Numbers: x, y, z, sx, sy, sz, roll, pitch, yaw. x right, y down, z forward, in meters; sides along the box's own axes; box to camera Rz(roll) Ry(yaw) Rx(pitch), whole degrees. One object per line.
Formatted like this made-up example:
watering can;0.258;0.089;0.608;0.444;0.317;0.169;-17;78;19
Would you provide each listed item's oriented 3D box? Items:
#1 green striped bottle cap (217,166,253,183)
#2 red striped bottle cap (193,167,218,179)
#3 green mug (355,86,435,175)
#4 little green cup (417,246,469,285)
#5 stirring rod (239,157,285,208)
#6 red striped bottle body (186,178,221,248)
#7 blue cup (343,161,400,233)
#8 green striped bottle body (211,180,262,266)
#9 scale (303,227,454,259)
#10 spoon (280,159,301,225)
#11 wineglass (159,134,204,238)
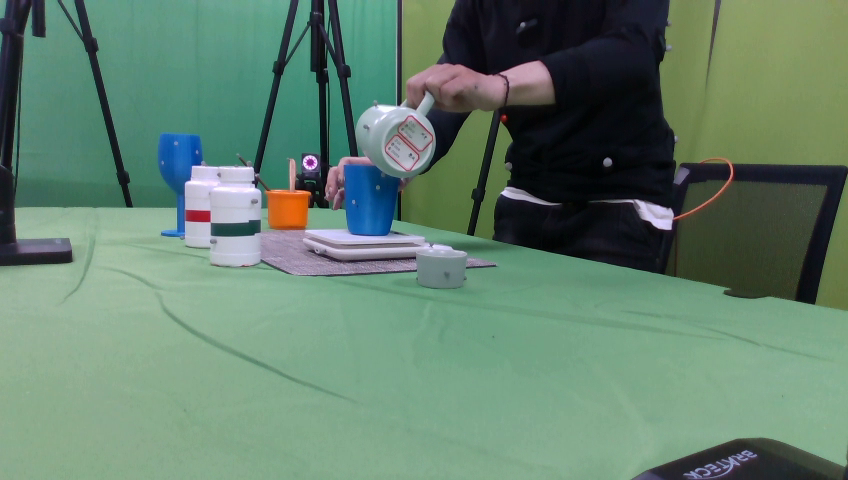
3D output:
green striped bottle cap;-0.242;-0.085;0.776;0.044;0.020;0.044;2;8;0
red striped bottle cap;-0.329;-0.102;0.921;0.044;0.017;0.044;0;8;0
green mug;-0.032;-0.154;0.816;0.093;0.125;0.104;38;1;-30
little green cup;0.021;0.029;0.701;0.061;0.038;0.061;1;6;0
stirring rod;-0.309;-0.098;1.209;0.006;0.177;0.014;-38;29;-2
red striped bottle body;-0.331;-0.050;0.927;0.063;0.119;0.063;2;7;0
blue cup;-0.078;-0.062;0.885;0.093;0.100;0.092;3;5;0
green striped bottle body;-0.243;-0.029;0.784;0.063;0.119;0.063;2;7;0
scale;-0.066;0.001;0.906;0.202;0.031;0.148;-2;8;-31
spoon;-0.273;-0.102;1.252;0.042;0.193;0.021;7;-38;-17
wineglass;-0.415;-0.093;1.039;0.074;0.172;0.073;2;7;0
